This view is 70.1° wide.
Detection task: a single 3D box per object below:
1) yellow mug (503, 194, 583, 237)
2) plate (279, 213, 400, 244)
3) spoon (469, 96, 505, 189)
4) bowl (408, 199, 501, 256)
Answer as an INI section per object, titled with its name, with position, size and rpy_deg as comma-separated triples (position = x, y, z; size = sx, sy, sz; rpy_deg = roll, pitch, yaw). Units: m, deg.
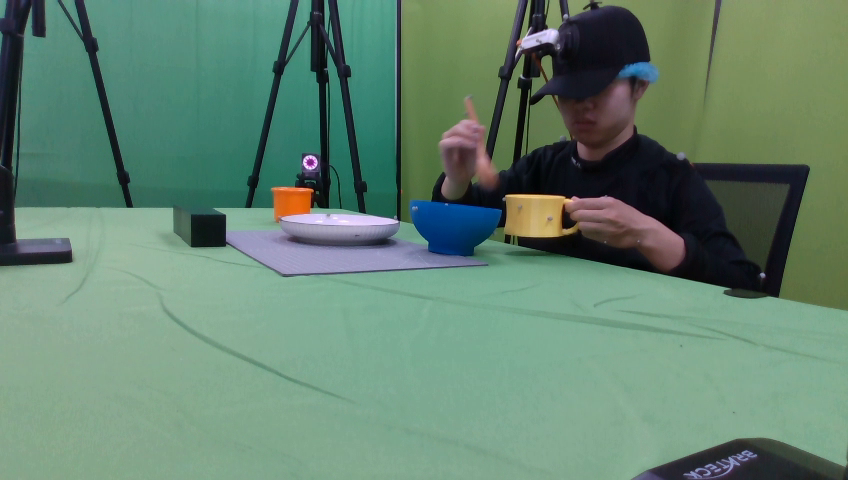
[yellow mug]
position = 0.198, -0.041, 1.004
size = 0.130, 0.064, 0.100
rpy_deg = 4, 7, 16
[plate]
position = -0.147, -0.020, 1.060
size = 0.209, 0.038, 0.209
rpy_deg = 2, 7, 0
[spoon]
position = 0.103, -0.169, 1.023
size = 0.022, 0.193, 0.041
rpy_deg = 9, -36, -29
[bowl]
position = 0.045, -0.019, 0.967
size = 0.151, 0.077, 0.151
rpy_deg = 6, 5, 0
